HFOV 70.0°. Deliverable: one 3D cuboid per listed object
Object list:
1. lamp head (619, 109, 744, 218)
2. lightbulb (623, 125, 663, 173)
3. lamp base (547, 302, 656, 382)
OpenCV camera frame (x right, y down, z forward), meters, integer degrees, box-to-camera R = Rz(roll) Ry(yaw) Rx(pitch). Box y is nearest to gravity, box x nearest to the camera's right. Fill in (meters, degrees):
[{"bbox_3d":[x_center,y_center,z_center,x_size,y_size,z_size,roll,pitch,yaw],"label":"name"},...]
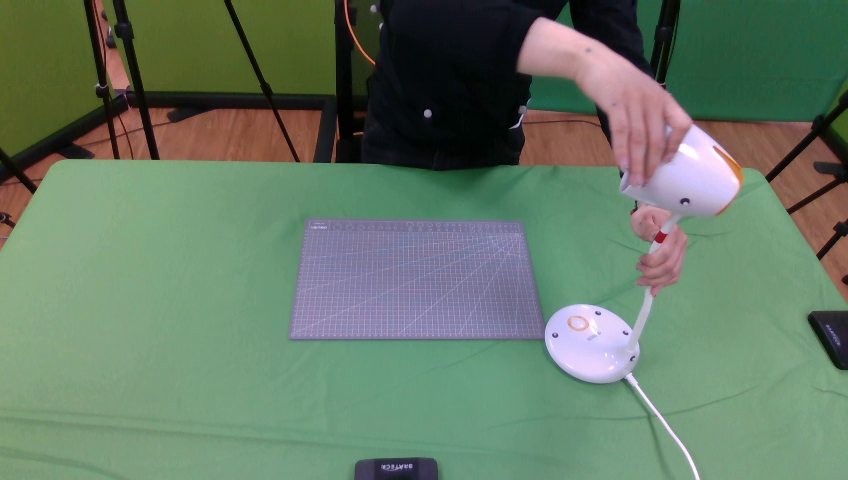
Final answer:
[{"bbox_3d":[0.309,-0.078,0.722,0.123,0.113,0.112,31,50,0],"label":"lamp head"},{"bbox_3d":[0.291,-0.096,0.723,0.107,0.060,0.059,30,51,10],"label":"lightbulb"},{"bbox_3d":[0.303,0.127,0.982,0.160,0.181,0.178,-33,59,-29],"label":"lamp base"}]
